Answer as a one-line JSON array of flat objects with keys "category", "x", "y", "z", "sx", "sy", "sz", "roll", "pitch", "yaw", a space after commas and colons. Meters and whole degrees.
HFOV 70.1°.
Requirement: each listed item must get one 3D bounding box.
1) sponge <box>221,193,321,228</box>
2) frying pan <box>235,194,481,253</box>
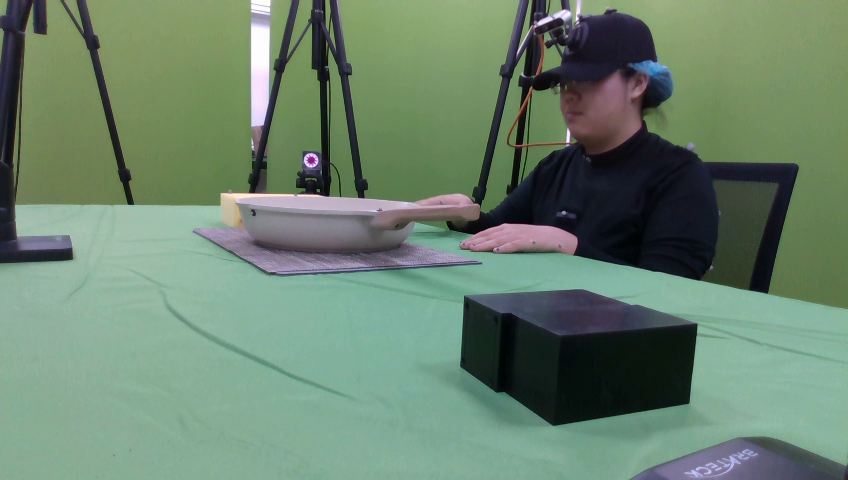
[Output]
[{"category": "sponge", "x": -0.298, "y": -0.062, "z": 1.235, "sx": 0.208, "sy": 0.061, "sz": 0.117, "roll": -3, "pitch": 9, "yaw": -31}, {"category": "frying pan", "x": -0.089, "y": -0.034, "z": 0.891, "sx": 0.308, "sy": 0.102, "sz": 0.485, "roll": -4, "pitch": 2, "yaw": -36}]
